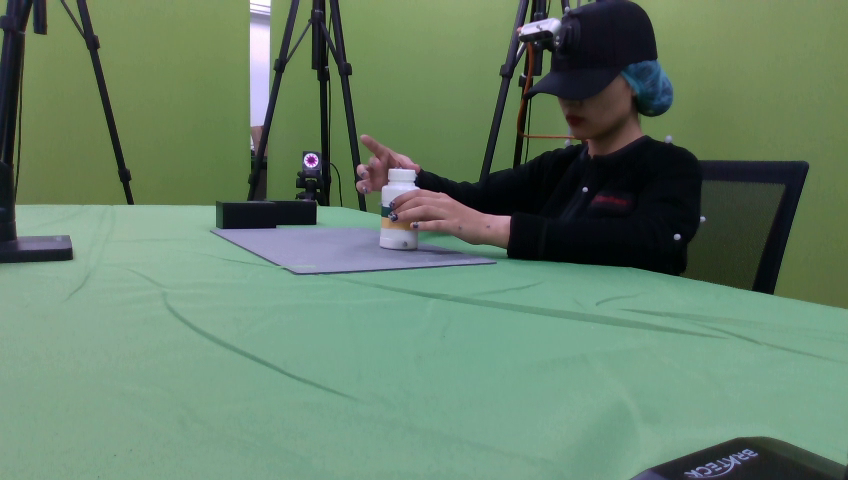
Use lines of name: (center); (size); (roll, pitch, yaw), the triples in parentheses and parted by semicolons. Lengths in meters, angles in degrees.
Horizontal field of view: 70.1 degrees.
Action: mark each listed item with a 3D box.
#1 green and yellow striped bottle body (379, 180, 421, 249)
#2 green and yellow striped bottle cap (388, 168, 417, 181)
green and yellow striped bottle body: (-0.037, -0.048, 0.960); (0.063, 0.119, 0.063); (3, 7, 0)
green and yellow striped bottle cap: (-0.034, -0.103, 0.953); (0.045, 0.020, 0.045); (0, 7, 0)
